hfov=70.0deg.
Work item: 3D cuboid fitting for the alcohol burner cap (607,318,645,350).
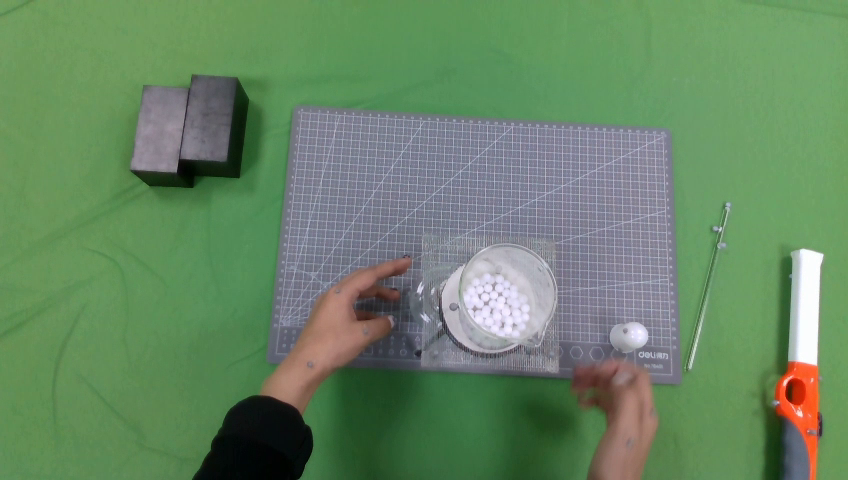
[{"bbox_3d":[0.220,0.100,0.652,0.034,0.048,0.033,0,75,0],"label":"alcohol burner cap"}]

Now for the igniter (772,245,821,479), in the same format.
[{"bbox_3d":[0.408,0.140,0.660,0.057,0.025,0.275,13,77,-10],"label":"igniter"}]

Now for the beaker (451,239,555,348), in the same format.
[{"bbox_3d":[0.060,0.051,0.492,0.074,0.100,0.083,-28,78,-8],"label":"beaker"}]

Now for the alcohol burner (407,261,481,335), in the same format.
[{"bbox_3d":[0.022,0.056,0.617,0.078,0.119,0.077,1,74,-2],"label":"alcohol burner"}]

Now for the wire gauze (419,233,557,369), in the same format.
[{"bbox_3d":[0.057,0.052,0.541,0.125,0.011,0.121,2,75,1],"label":"wire gauze"}]

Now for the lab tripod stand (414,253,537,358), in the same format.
[{"bbox_3d":[0.054,0.071,0.605,0.148,0.132,0.147,0,76,0],"label":"lab tripod stand"}]

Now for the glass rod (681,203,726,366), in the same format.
[{"bbox_3d":[0.318,0.048,0.688,0.008,0.008,0.199,20,77,2],"label":"glass rod"}]
